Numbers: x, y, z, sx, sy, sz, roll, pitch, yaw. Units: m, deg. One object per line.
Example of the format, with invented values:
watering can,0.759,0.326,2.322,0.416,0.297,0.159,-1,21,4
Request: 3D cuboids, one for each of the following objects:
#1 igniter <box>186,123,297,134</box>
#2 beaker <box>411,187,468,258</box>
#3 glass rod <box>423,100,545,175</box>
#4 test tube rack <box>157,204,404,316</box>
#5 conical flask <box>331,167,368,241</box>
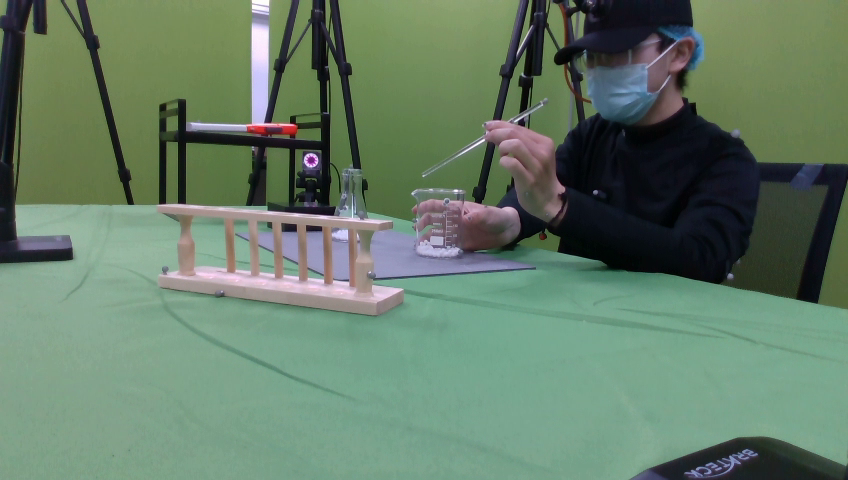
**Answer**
igniter,-0.392,-0.248,1.341,0.057,0.025,0.278,9,14,38
beaker,0.022,-0.027,0.890,0.084,0.100,0.074,1,7,-6
glass rod,0.079,-0.139,0.834,0.199,0.008,0.008,-29,-6,23
test tube rack,-0.143,0.013,0.599,0.242,0.085,0.067,5,8,19
conical flask,-0.123,-0.061,1.018,0.075,0.122,0.075,2,7,0
